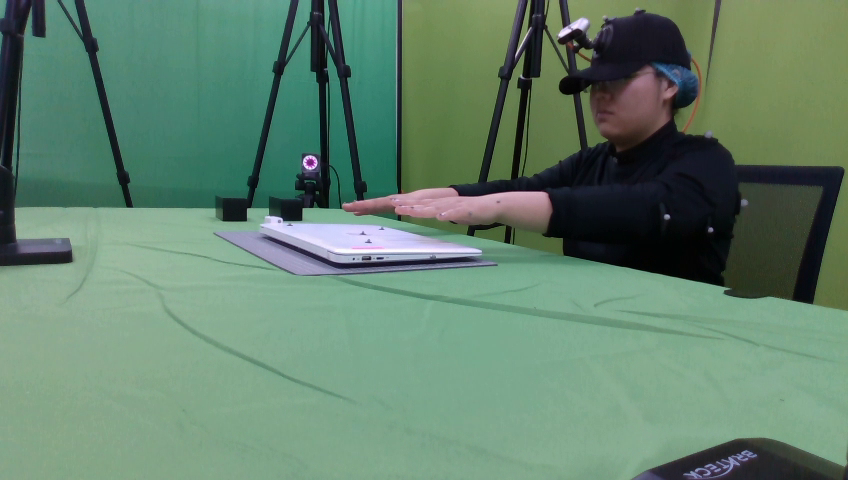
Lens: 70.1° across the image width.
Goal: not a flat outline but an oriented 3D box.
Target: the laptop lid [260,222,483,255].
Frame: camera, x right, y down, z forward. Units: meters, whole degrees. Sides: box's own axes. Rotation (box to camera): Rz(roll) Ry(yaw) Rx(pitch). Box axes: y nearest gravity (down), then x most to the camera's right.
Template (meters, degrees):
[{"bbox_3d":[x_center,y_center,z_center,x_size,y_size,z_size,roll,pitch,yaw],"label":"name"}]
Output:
[{"bbox_3d":[-0.099,-0.005,0.962,0.243,0.013,0.355,1,7,-30],"label":"laptop lid"}]

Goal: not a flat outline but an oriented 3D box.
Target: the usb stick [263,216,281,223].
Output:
[{"bbox_3d":[-0.269,-0.028,1.081,0.021,0.027,0.059,-2,11,-30],"label":"usb stick"}]

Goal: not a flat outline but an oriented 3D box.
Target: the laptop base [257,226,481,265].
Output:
[{"bbox_3d":[-0.102,0.006,0.962,0.237,0.023,0.352,2,6,-32],"label":"laptop base"}]
